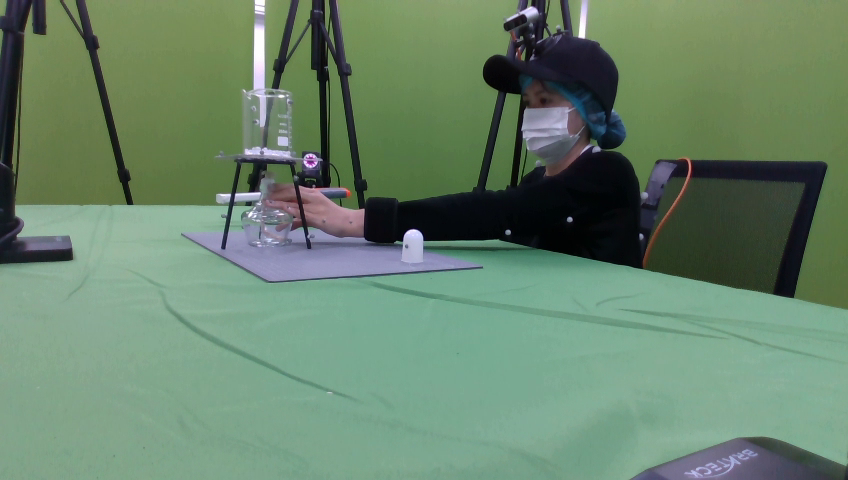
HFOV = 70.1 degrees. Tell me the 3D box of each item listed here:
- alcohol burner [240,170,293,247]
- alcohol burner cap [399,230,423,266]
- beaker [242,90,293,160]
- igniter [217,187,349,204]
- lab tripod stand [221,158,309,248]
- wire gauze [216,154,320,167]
[{"bbox_3d":[-0.241,-0.049,0.930,0.078,0.119,0.078,3,5,0],"label":"alcohol burner"},{"bbox_3d":[-0.017,0.010,0.837,0.034,0.048,0.034,3,7,0],"label":"alcohol burner cap"},{"bbox_3d":[-0.235,-0.169,0.900,0.074,0.100,0.084,4,7,23],"label":"beaker"},{"bbox_3d":[-0.285,-0.093,1.256,0.278,0.025,0.057,-6,12,-34],"label":"igniter"},{"bbox_3d":[-0.244,-0.057,0.917,0.148,0.131,0.148,1,7,0],"label":"lab tripod stand"},{"bbox_3d":[-0.236,-0.121,0.906,0.126,0.011,0.121,0,8,-33],"label":"wire gauze"}]
